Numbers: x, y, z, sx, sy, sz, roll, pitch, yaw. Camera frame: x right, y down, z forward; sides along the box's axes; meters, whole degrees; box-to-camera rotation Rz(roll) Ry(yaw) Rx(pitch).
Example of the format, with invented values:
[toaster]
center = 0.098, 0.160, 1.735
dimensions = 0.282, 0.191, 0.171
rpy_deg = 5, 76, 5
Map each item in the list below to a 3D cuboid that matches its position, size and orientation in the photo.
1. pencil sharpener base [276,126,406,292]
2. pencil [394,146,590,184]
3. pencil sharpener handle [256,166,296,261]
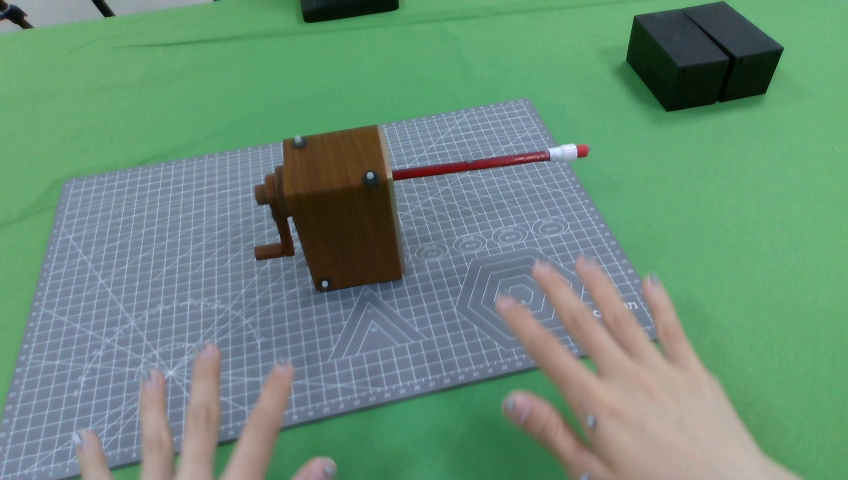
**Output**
[pencil sharpener base]
center = -0.058, -0.019, 0.438
dimensions = 0.077, 0.108, 0.060
rpy_deg = -9, 47, -4
[pencil]
center = 0.023, -0.049, 0.426
dimensions = 0.194, 0.012, 0.012
rpy_deg = -8, 47, -5
[pencil sharpener handle]
center = -0.108, -0.016, 0.421
dimensions = 0.031, 0.068, 0.035
rpy_deg = -10, 28, -4
